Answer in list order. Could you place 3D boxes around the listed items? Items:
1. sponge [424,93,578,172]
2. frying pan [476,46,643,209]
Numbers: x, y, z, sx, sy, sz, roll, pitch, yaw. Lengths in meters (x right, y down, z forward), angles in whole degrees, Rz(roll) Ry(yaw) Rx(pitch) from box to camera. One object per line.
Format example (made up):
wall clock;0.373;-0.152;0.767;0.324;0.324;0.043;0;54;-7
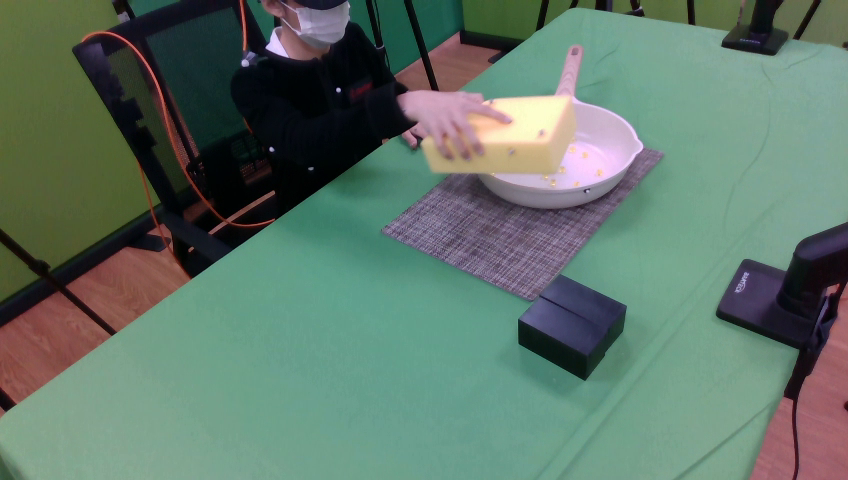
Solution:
sponge;0.120;-0.165;0.935;0.205;0.061;0.118;4;47;28
frying pan;0.255;-0.228;1.135;0.305;0.103;0.487;9;51;17
